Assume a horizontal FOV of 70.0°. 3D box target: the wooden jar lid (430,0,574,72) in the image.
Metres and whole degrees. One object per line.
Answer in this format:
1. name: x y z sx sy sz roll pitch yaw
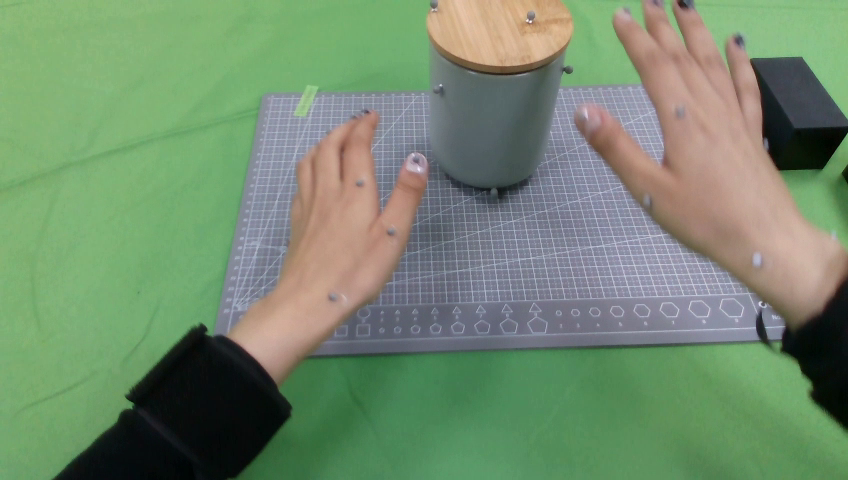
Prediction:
1. wooden jar lid: 0.058 -0.158 0.457 0.108 0.021 0.107 0 53 1

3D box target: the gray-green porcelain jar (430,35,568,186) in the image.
1. gray-green porcelain jar: 0.058 -0.117 0.507 0.106 0.127 0.105 0 51 0
